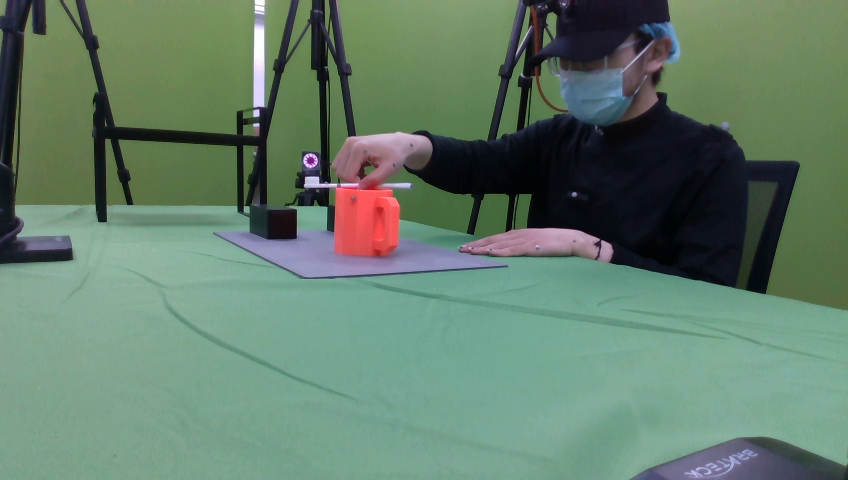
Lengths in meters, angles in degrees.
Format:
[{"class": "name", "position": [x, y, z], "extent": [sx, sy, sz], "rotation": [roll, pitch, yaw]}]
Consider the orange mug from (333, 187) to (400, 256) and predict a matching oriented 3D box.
[{"class": "orange mug", "position": [-0.080, -0.029, 0.888], "extent": [0.084, 0.100, 0.125], "rotation": [-3, 5, -40]}]

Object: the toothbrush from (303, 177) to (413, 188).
[{"class": "toothbrush", "position": [-0.097, -0.086, 0.920], "extent": [0.183, 0.016, 0.014], "rotation": [-2, 3, -32]}]
